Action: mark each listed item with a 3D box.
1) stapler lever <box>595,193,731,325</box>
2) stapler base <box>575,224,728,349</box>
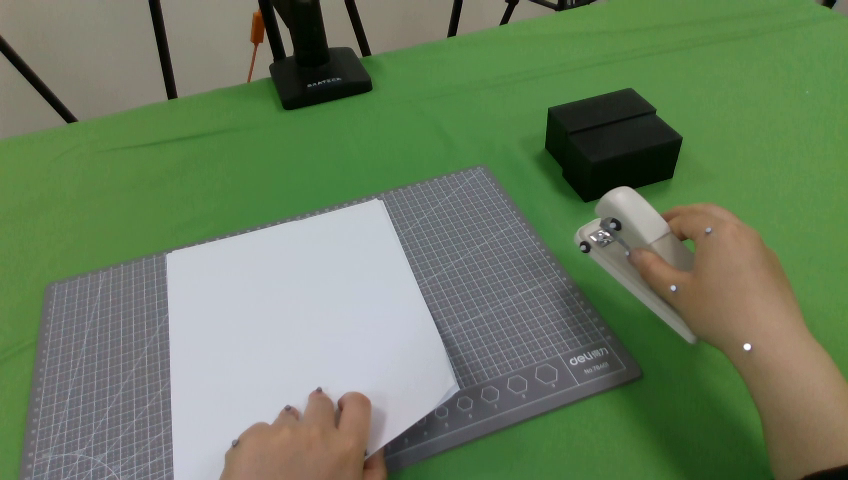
[{"bbox_3d":[0.176,0.010,0.450,0.027,0.040,0.117,-28,55,-22],"label":"stapler lever"},{"bbox_3d":[0.174,0.026,0.470,0.041,0.024,0.129,-28,55,-22],"label":"stapler base"}]
